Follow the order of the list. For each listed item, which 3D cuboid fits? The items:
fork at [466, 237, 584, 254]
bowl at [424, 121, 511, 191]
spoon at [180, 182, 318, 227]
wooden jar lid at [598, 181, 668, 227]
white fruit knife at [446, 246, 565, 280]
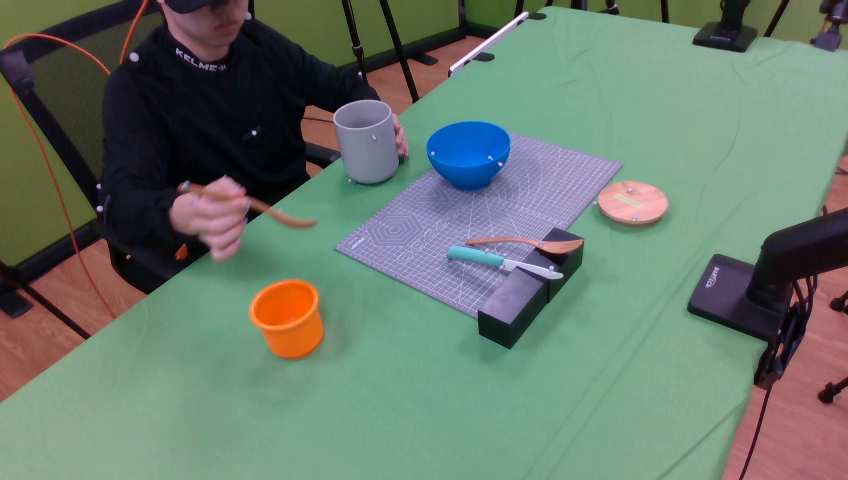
[{"bbox_3d":[0.142,0.005,0.894,0.205,0.019,0.028,4,43,41],"label":"fork"},{"bbox_3d":[0.080,-0.140,1.074,0.151,0.077,0.150,-4,40,4],"label":"bowl"},{"bbox_3d":[-0.214,-0.045,0.760,0.041,0.195,0.021,1,75,42],"label":"spoon"},{"bbox_3d":[0.340,-0.058,0.989,0.108,0.021,0.108,-5,41,5],"label":"wooden jar lid"},{"bbox_3d":[0.111,0.033,0.868,0.205,0.027,0.016,11,44,40],"label":"white fruit knife"}]
